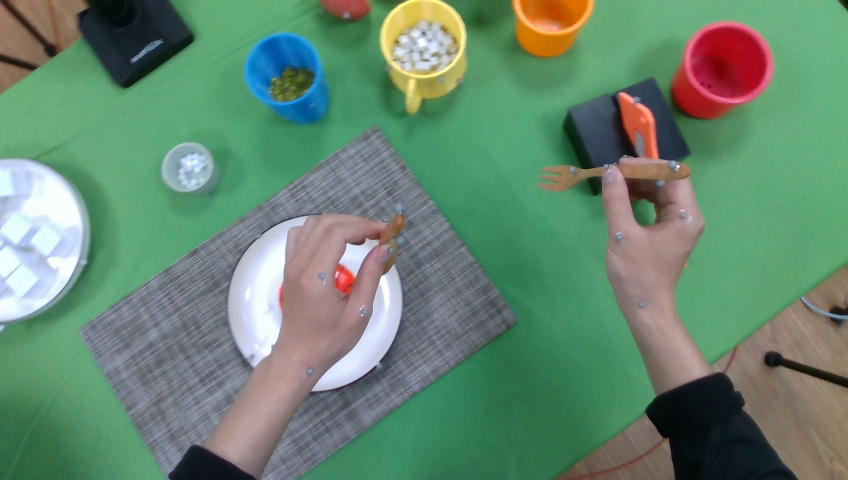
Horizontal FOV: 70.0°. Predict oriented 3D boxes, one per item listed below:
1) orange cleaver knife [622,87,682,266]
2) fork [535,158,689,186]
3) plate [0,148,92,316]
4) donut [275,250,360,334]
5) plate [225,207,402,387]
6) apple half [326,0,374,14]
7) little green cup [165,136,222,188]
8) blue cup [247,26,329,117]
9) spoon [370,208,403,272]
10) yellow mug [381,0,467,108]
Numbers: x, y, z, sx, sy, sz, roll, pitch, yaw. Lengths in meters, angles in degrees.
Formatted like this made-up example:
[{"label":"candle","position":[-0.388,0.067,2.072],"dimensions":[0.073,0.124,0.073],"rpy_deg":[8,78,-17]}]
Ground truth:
[{"label":"orange cleaver knife","position":[0.259,-0.071,0.693],"dimensions":[0.012,0.076,0.213],"rpy_deg":[-20,111,3]},{"label":"fork","position":[0.154,-0.062,0.533],"dimensions":[0.019,0.206,0.028],"rpy_deg":[24,87,-17]},{"label":"plate","position":[-0.509,-0.009,0.752],"dimensions":[0.207,0.039,0.207],"rpy_deg":[0,82,4]},{"label":"donut","position":[-0.124,0.061,0.705],"dimensions":[0.099,0.048,0.099],"rpy_deg":[0,84,5]},{"label":"plate","position":[-0.127,0.066,0.716],"dimensions":[0.209,0.038,0.208],"rpy_deg":[0,83,4]},{"label":"apple half","position":[-0.103,-0.317,0.752],"dimensions":[0.053,0.075,0.080],"rpy_deg":[-30,85,3]},{"label":"little green cup","position":[-0.283,-0.093,0.750],"dimensions":[0.061,0.039,0.061],"rpy_deg":[-1,82,4]},{"label":"blue cup","position":[-0.153,-0.191,0.724],"dimensions":[0.092,0.100,0.092],"rpy_deg":[0,83,2]},{"label":"spoon","position":[-0.033,-0.001,0.503],"dimensions":[0.022,0.194,0.041],"rpy_deg":[11,81,-4]},{"label":"yellow mug","position":[-0.002,-0.224,0.737],"dimensions":[0.100,0.064,0.130],"rpy_deg":[13,84,5]}]
